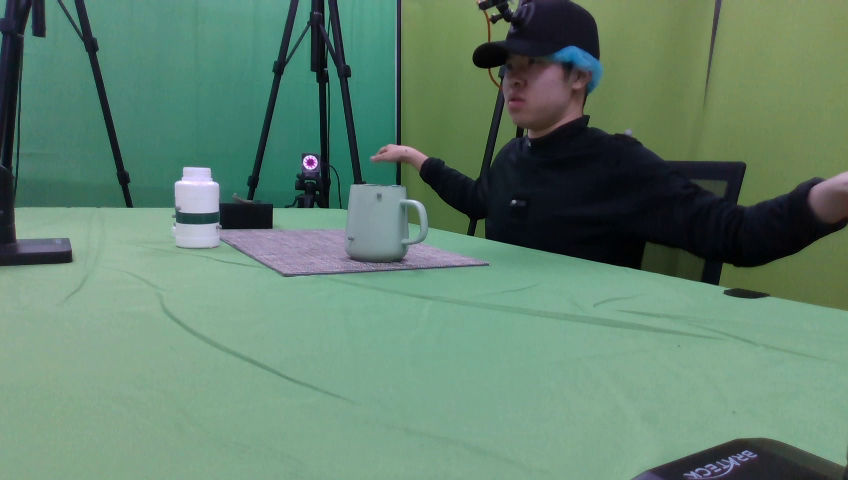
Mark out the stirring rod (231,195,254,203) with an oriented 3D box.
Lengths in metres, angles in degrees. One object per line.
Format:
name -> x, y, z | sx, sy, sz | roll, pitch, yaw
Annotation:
stirring rod -> -0.372, -0.084, 1.235 | 0.014, 0.006, 0.175 | -1, 8, -28

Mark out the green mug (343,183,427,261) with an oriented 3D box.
green mug -> -0.053, -0.026, 0.847 | 0.125, 0.105, 0.093 | 6, 8, 27

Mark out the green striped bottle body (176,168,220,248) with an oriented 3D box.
green striped bottle body -> -0.345, -0.050, 0.924 | 0.063, 0.119, 0.063 | 2, 7, 0

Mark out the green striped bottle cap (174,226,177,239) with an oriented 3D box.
green striped bottle cap -> -0.404, -0.015, 1.036 | 0.044, 0.020, 0.044 | -1, 10, 0
